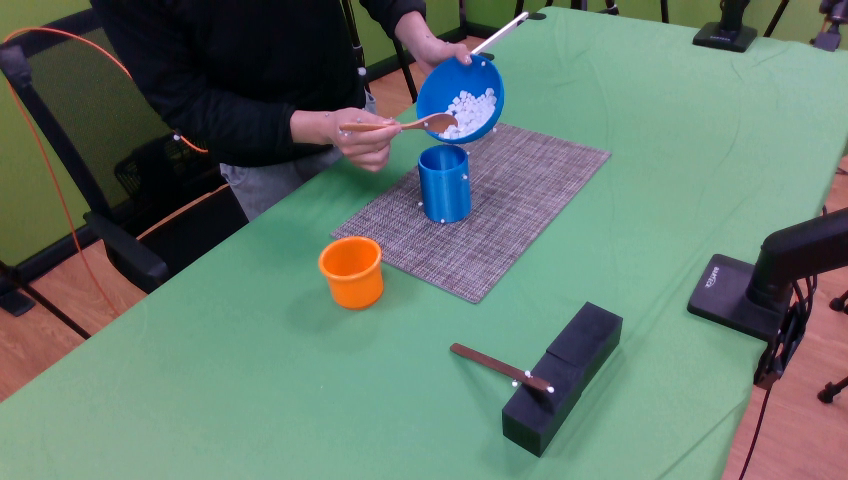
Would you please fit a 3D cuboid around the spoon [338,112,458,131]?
[{"bbox_3d":[-0.036,-0.176,0.919,0.195,0.041,0.021,-10,62,-27],"label":"spoon"}]

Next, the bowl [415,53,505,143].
[{"bbox_3d":[0.069,-0.218,0.990,0.150,0.077,0.151,-7,72,23],"label":"bowl"}]

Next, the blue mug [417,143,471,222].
[{"bbox_3d":[0.031,-0.105,1.015,0.082,0.106,0.115,-14,41,-7],"label":"blue mug"}]

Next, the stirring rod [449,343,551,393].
[{"bbox_3d":[0.088,0.154,0.741,0.014,0.006,0.174,-39,28,-25],"label":"stirring rod"}]
